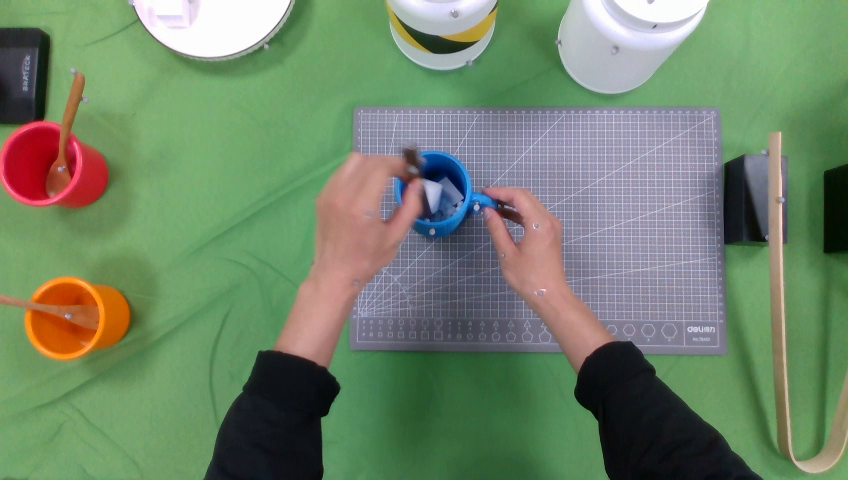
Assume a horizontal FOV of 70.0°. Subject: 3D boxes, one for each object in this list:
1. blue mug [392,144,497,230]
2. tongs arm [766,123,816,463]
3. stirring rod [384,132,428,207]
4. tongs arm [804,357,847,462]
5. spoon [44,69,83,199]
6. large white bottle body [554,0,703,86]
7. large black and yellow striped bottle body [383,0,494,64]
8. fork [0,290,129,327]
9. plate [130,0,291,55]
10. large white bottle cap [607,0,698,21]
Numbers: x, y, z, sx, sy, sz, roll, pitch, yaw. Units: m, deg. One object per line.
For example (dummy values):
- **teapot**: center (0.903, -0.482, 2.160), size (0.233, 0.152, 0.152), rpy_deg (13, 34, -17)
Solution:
- **blue mug**: center (0.025, -0.054, 0.689), size (0.116, 0.106, 0.082), rpy_deg (11, 86, 2)
- **tongs arm**: center (0.409, 0.064, 0.675), size (0.051, 0.026, 0.385), rpy_deg (-4, 98, -1)
- **stirring rod**: center (-0.014, -0.061, 0.570), size (0.014, 0.177, 0.006), rpy_deg (-35, 73, -1)
- **tongs arm**: center (0.491, 0.065, 0.675), size (0.028, 0.027, 0.388), rpy_deg (9, 98, -6)
- **spoon**: center (-0.407, -0.115, 0.685), size (0.041, 0.021, 0.194), rpy_deg (46, 132, 7)
- **large white bottle body**: center (0.222, -0.259, 0.661), size (0.130, 0.185, 0.130), rpy_deg (0, 86, 1)
- **large black and yellow striped bottle body**: center (0.016, -0.288, 0.668), size (0.131, 0.184, 0.130), rpy_deg (0, 85, 2)
- **fork**: center (-0.437, 0.067, 0.671), size (0.209, 0.018, 0.028), rpy_deg (22, 85, -41)
- **plate**: center (-0.259, -0.326, 0.749), size (0.207, 0.039, 0.207), rpy_deg (0, 86, 1)
- **large white bottle cap**: center (0.220, -0.267, 0.577), size (0.115, 0.018, 0.114), rpy_deg (0, 86, 1)
